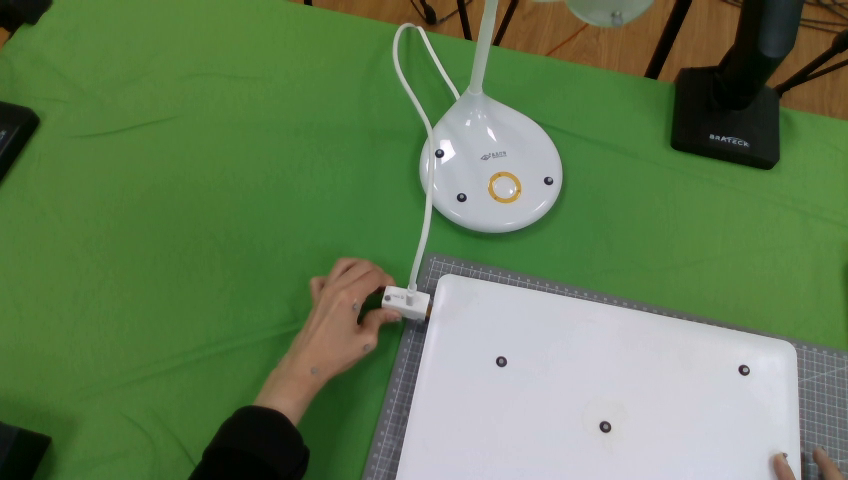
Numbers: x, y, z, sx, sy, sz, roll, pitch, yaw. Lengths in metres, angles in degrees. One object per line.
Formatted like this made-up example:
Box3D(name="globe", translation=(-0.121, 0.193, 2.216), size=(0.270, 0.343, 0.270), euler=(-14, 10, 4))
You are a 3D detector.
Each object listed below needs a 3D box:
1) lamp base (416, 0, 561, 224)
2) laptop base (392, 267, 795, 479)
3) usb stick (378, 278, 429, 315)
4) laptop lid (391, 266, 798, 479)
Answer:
Box3D(name="lamp base", translation=(0.067, -0.133, 0.607), size=(0.161, 0.181, 0.177), euler=(-23, 65, -12))
Box3D(name="laptop base", translation=(0.162, 0.165, 0.562), size=(0.354, 0.023, 0.234), euler=(11, 69, 3))
Box3D(name="usb stick", translation=(-0.014, 0.057, 0.590), size=(0.059, 0.027, 0.021), euler=(14, 58, -3))
Box3D(name="laptop lid", translation=(0.161, 0.162, 0.550), size=(0.356, 0.013, 0.240), euler=(12, 68, 4))
